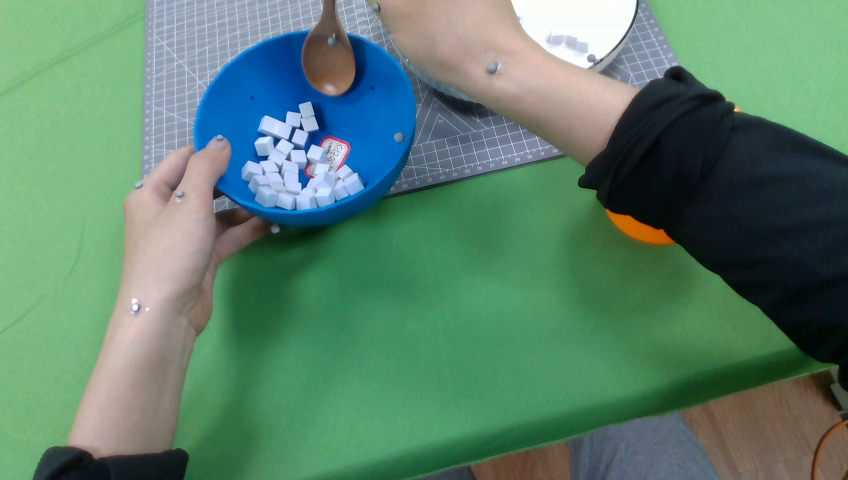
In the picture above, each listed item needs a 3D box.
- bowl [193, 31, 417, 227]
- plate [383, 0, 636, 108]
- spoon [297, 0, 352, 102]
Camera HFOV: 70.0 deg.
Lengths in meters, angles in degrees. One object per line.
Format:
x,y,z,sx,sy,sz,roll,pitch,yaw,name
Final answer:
-0.077,-0.067,0.438,0.151,0.077,0.150,-1,66,3,bowl
0.069,-0.192,0.517,0.209,0.038,0.207,-3,64,5,plate
-0.058,-0.150,0.373,0.041,0.194,0.021,24,66,-2,spoon
